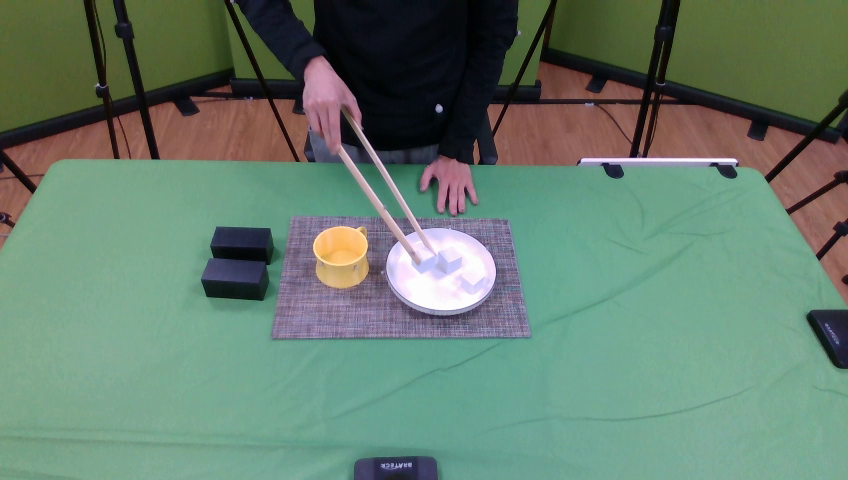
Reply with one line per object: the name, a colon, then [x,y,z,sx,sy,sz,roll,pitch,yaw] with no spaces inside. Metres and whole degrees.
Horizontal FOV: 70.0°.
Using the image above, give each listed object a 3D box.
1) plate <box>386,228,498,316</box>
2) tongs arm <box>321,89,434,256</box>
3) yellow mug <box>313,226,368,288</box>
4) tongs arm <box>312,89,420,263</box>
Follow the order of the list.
plate: [0.032,0.062,1.126,0.208,0.039,0.206,2,46,-2]
tongs arm: [-0.086,-0.131,1.120,0.028,0.028,0.386,-27,74,-20]
yellow mug: [-0.146,0.021,1.132,0.099,0.064,0.130,24,49,19]
tongs arm: [-0.105,-0.123,1.111,0.051,0.026,0.383,-31,75,-25]
